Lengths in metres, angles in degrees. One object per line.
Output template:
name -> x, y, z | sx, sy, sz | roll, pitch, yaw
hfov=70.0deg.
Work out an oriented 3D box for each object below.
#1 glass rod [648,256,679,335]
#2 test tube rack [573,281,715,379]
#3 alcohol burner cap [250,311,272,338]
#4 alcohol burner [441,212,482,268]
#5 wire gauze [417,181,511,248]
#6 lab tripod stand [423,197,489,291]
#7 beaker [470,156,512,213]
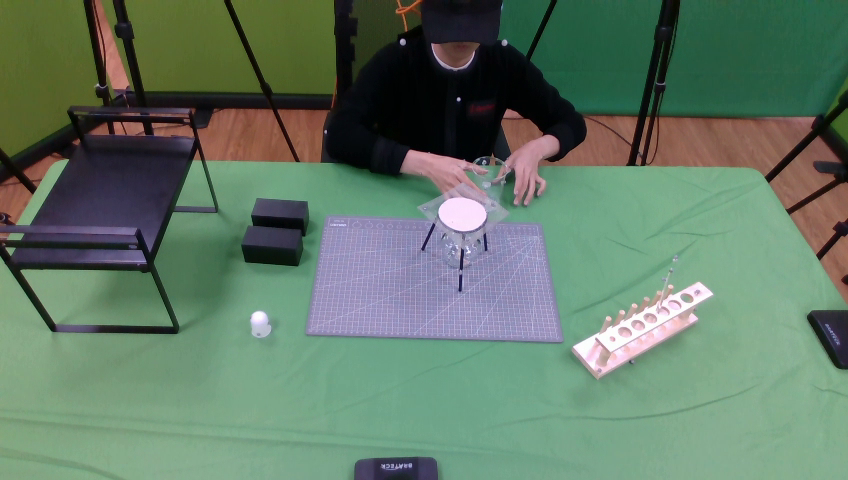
glass rod -> 0.390, 0.095, 0.990 | 0.008, 0.201, 0.008 | -2, 45, 2
test tube rack -> 0.378, 0.140, 1.038 | 0.242, 0.085, 0.066 | -22, 51, -22
alcohol burner cap -> -0.278, 0.141, 1.026 | 0.034, 0.048, 0.033 | 1, 46, -1
alcohol burner -> 0.071, -0.005, 1.136 | 0.078, 0.120, 0.077 | 1, 44, 0
wire gauze -> 0.071, -0.051, 1.073 | 0.121, 0.011, 0.124 | -32, 55, -29
lab tripod stand -> 0.064, -0.002, 1.119 | 0.148, 0.132, 0.147 | 1, 47, 0
beaker -> 0.136, -0.113, 1.260 | 0.084, 0.101, 0.073 | -1, 46, -6
